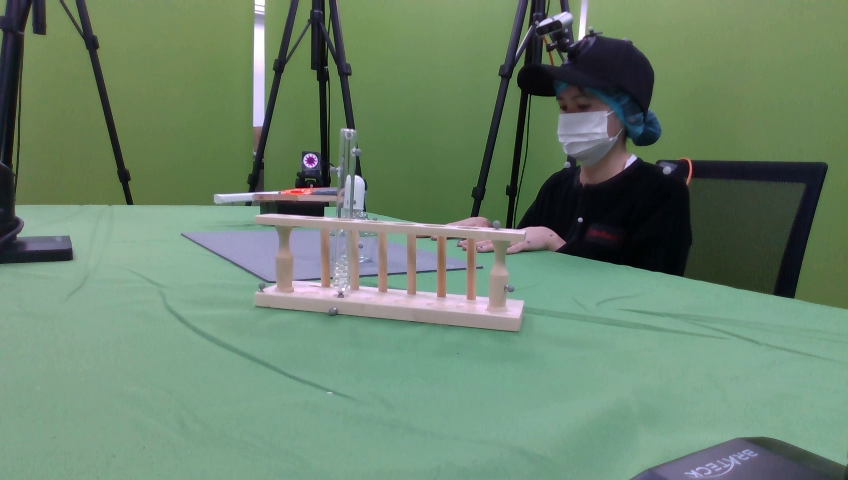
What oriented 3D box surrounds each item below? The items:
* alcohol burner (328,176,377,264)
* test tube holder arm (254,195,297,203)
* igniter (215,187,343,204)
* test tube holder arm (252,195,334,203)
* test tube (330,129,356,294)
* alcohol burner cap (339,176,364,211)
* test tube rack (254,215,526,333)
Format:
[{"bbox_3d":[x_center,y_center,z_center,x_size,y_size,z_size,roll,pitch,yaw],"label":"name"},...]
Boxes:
[{"bbox_3d":[-0.098,-0.028,0.819,0.078,0.119,0.078,1,8,0],"label":"alcohol burner"},{"bbox_3d":[-0.294,-0.081,1.195,0.088,0.015,0.010,-4,10,-38],"label":"test tube holder arm"},{"bbox_3d":[-0.289,-0.093,1.256,0.278,0.025,0.057,-6,11,-35],"label":"igniter"},{"bbox_3d":[-0.262,-0.085,1.228,0.179,0.015,0.013,-5,10,-40],"label":"test tube holder arm"},{"bbox_3d":[-0.074,-0.025,0.548,0.017,0.150,0.017,4,6,0],"label":"test tube"},{"bbox_3d":[-0.096,-0.063,0.814,0.034,0.048,0.034,7,7,0],"label":"alcohol burner cap"},{"bbox_3d":[-0.030,0.025,0.558,0.242,0.085,0.067,4,7,12],"label":"test tube rack"}]
